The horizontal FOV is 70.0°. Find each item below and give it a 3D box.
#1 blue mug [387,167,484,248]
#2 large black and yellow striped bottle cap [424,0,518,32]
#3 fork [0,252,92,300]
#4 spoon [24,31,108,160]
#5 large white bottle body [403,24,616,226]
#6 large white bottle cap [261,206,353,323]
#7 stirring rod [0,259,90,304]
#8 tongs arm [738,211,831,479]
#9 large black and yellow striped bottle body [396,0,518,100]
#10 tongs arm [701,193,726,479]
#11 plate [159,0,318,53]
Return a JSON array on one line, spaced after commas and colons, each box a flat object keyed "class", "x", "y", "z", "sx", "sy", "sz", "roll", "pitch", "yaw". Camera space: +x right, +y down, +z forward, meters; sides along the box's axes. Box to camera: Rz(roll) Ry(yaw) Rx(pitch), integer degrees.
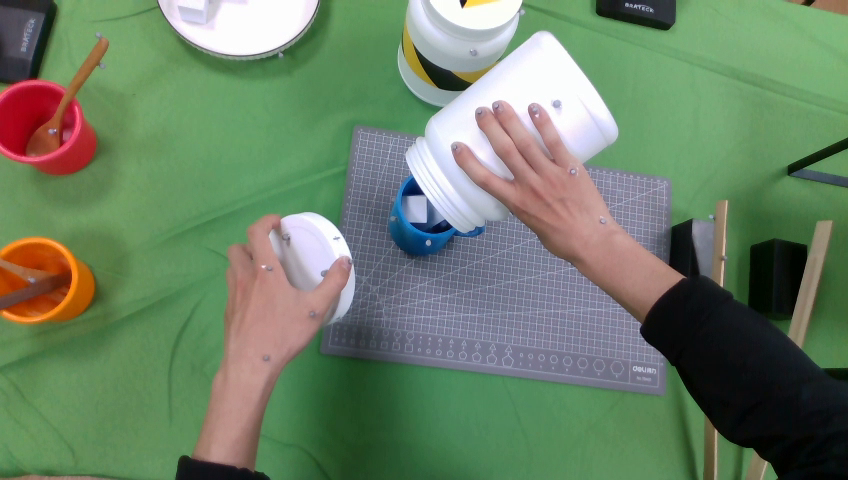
[{"class": "blue mug", "x": 0.016, "y": -0.035, "z": 0.738, "sx": 0.117, "sy": 0.106, "sz": 0.082, "roll": 16, "pitch": 76, "yaw": -6}, {"class": "large black and yellow striped bottle cap", "x": 0.051, "y": -0.287, "z": 0.668, "sx": 0.115, "sy": 0.019, "sz": 0.114, "roll": 2, "pitch": 80, "yaw": -10}, {"class": "fork", "x": -0.449, "y": 0.014, "z": 0.630, "sx": 0.209, "sy": 0.018, "sz": 0.028, "roll": 40, "pitch": 68, "yaw": -45}, {"class": "spoon", "x": -0.399, "y": -0.158, "z": 0.675, "sx": 0.194, "sy": 0.021, "sz": 0.041, "roll": -41, "pitch": 83, "yaw": 29}, {"class": "large white bottle body", "x": 0.082, "y": -0.109, "z": 0.614, "sx": 0.184, "sy": 0.131, "sz": 0.130, "roll": -36, "pitch": 85, "yaw": 16}, {"class": "large white bottle cap", "x": -0.117, "y": 0.025, "z": 0.594, "sx": 0.018, "sy": 0.114, "sz": 0.114, "roll": -13, "pitch": 78, "yaw": -53}, {"class": "stirring rod", "x": -0.431, "y": 0.055, "z": 0.632, "sx": 0.014, "sy": 0.006, "sz": 0.176, "roll": 55, "pitch": 34, "yaw": 0}, {"class": "tongs arm", "x": 0.460, "y": 0.147, "z": 0.782, "sx": 0.028, "sy": 0.027, "sz": 0.387, "roll": 18, "pitch": 88, "yaw": -14}, {"class": "large black and yellow striped bottle body", "x": 0.039, "y": -0.268, "z": 0.748, "sx": 0.131, "sy": 0.184, "sz": 0.130, "roll": 2, "pitch": 78, "yaw": -9}, {"class": "tongs arm", "x": 0.380, "y": 0.134, "z": 0.769, "sx": 0.051, "sy": 0.026, "sz": 0.384, "roll": 4, "pitch": 91, "yaw": -11}, {"class": "plate", "x": -0.240, "y": -0.337, "z": 0.790, "sx": 0.208, "sy": 0.039, "sz": 0.206, "roll": 2, "pitch": 79, "yaw": -9}]
